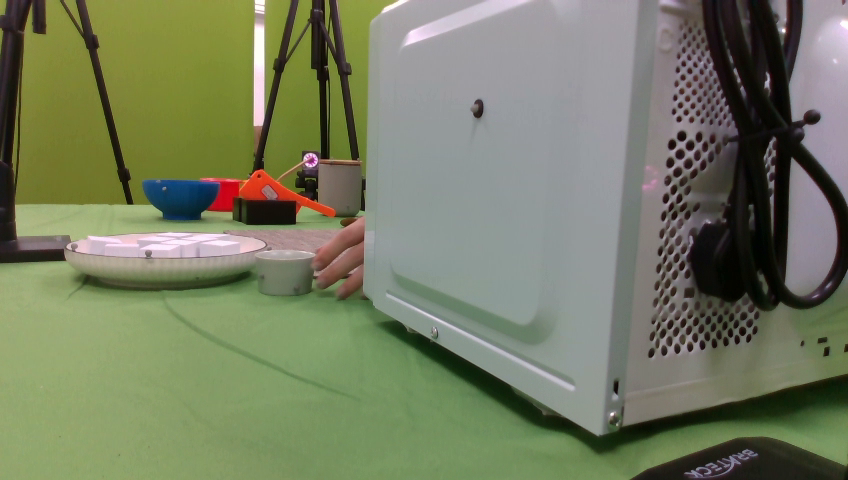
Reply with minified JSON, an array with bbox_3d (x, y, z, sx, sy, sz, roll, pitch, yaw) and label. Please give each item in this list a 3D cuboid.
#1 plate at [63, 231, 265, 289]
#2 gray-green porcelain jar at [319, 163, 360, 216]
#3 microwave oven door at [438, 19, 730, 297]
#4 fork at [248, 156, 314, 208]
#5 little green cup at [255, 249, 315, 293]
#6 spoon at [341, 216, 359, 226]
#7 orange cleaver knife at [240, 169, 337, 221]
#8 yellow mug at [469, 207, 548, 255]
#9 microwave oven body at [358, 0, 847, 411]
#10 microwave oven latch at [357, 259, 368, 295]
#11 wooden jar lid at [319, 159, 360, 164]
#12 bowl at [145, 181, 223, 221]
[{"bbox_3d":[-0.288,0.021,0.687,0.208,0.039,0.207,2,8,0],"label":"plate"},{"bbox_3d":[-0.204,-0.126,1.490,0.106,0.126,0.106,2,7,0],"label":"gray-green porcelain jar"},{"bbox_3d":[0.181,-0.076,0.618,0.358,0.243,0.039,-2,9,-28],"label":"microwave oven door"},{"bbox_3d":[-0.360,-0.147,1.523,0.207,0.019,0.028,-43,18,-6],"label":"fork"},{"bbox_3d":[-0.144,0.031,0.627,0.061,0.038,0.061,2,6,0],"label":"little green cup"},{"bbox_3d":[-0.132,-0.048,1.305,0.041,0.021,0.194,-14,4,14],"label":"spoon"},{"bbox_3d":[-0.287,-0.082,1.298,0.212,0.077,0.012,25,-2,-31],"label":"orange cleaver knife"},{"bbox_3d":[0.136,-0.015,0.951,0.131,0.064,0.099,2,6,-20],"label":"yellow mug"},{"bbox_3d":[0.210,-0.051,0.471,0.444,0.260,0.324,-1,7,-28],"label":"microwave oven body"},{"bbox_3d":[-0.019,0.031,0.530,0.079,0.029,0.030,-1,7,-27],"label":"microwave oven latch"},{"bbox_3d":[-0.203,-0.189,1.482,0.108,0.020,0.108,2,10,0],"label":"wooden jar lid"},{"bbox_3d":[-0.499,-0.081,1.261,0.151,0.077,0.151,2,7,0],"label":"bowl"}]
